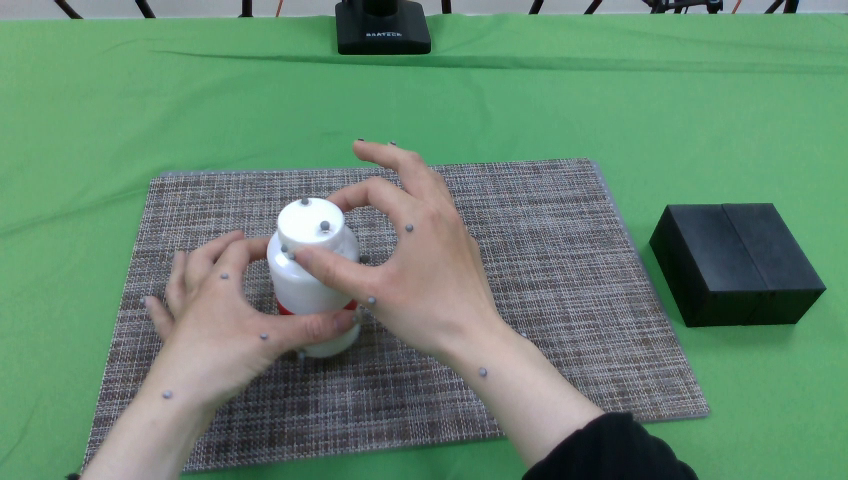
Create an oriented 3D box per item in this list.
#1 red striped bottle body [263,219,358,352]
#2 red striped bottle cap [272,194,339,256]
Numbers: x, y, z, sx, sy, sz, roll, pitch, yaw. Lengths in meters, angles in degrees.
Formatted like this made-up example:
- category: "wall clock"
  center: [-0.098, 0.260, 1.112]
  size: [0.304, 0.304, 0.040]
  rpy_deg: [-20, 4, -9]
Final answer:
- category: "red striped bottle body"
  center: [-0.081, 0.026, 0.443]
  size: [0.063, 0.120, 0.062]
  rpy_deg: [2, 49, -2]
- category: "red striped bottle cap"
  center: [-0.078, -0.011, 0.401]
  size: [0.044, 0.018, 0.044]
  rpy_deg: [8, 44, -8]
